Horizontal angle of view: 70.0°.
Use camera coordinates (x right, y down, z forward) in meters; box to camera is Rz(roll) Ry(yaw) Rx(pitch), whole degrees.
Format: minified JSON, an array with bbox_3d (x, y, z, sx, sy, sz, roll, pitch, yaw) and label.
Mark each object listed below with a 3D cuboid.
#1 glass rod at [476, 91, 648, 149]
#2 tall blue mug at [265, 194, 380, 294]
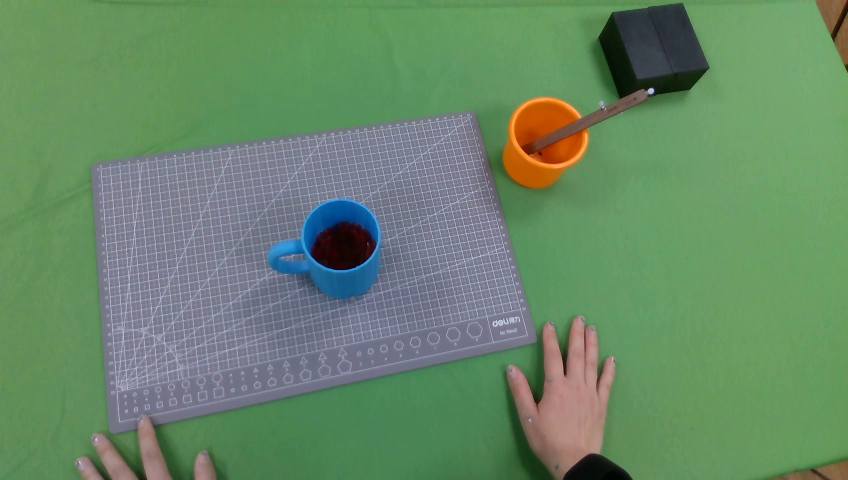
[{"bbox_3d":[0.151,-0.135,0.688,0.199,0.008,0.008,-15,70,25],"label":"glass rod"},{"bbox_3d":[-0.098,0.015,0.623,0.107,0.108,0.077,-34,79,-16],"label":"tall blue mug"}]
